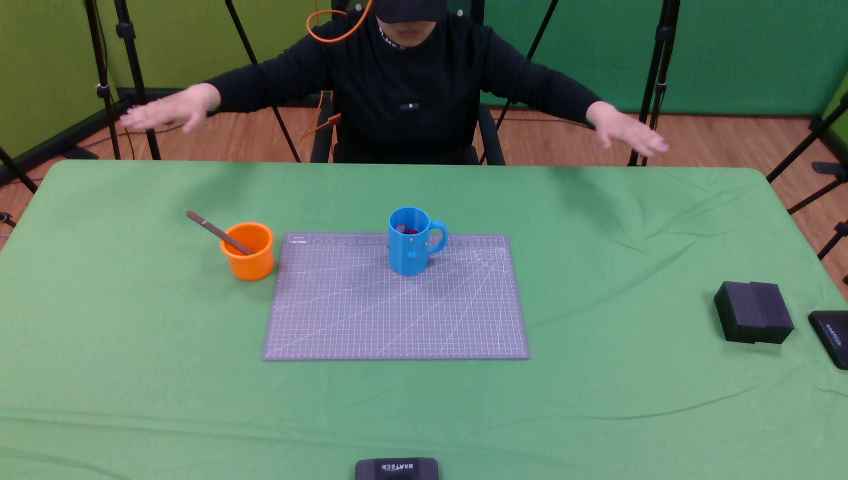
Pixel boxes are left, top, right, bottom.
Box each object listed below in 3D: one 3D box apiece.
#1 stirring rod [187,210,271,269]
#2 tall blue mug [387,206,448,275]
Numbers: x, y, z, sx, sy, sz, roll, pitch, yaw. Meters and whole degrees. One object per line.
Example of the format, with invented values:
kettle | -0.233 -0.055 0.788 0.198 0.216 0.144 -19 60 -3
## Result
stirring rod | -0.349 0.000 1.092 0.177 0.006 0.014 39 35 -27
tall blue mug | -0.018 -0.004 1.138 0.107 0.108 0.077 -30 54 -29
